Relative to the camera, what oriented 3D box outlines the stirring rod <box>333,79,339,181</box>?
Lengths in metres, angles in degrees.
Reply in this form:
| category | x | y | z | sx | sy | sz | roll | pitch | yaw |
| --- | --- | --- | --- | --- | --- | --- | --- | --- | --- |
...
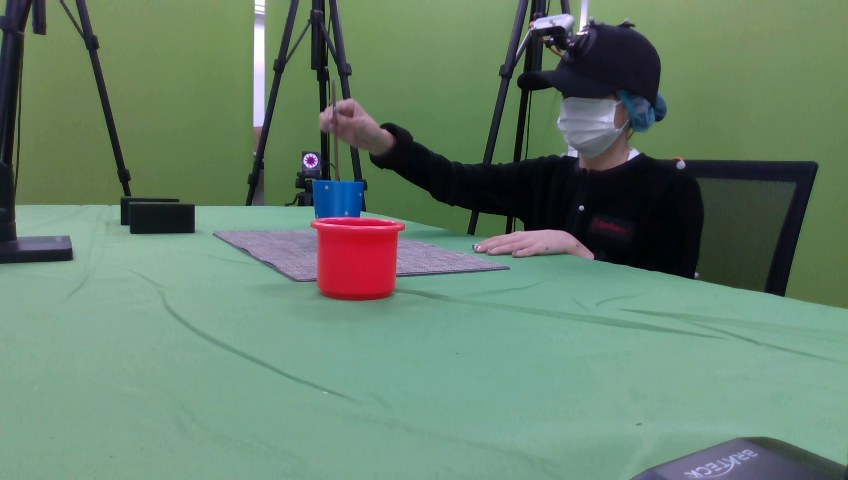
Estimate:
| category | x | y | z | sx | sy | sz | roll | pitch | yaw |
| --- | --- | --- | --- | --- | --- | --- | --- | --- | --- |
| stirring rod | -0.145 | -0.177 | 0.995 | 0.006 | 0.176 | 0.014 | -2 | -2 | -3 |

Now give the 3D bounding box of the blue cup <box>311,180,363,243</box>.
| category | x | y | z | sx | sy | sz | roll | pitch | yaw |
| --- | --- | --- | --- | --- | --- | --- | --- | --- | --- |
| blue cup | -0.144 | -0.047 | 0.997 | 0.093 | 0.100 | 0.092 | 2 | 6 | 0 |
